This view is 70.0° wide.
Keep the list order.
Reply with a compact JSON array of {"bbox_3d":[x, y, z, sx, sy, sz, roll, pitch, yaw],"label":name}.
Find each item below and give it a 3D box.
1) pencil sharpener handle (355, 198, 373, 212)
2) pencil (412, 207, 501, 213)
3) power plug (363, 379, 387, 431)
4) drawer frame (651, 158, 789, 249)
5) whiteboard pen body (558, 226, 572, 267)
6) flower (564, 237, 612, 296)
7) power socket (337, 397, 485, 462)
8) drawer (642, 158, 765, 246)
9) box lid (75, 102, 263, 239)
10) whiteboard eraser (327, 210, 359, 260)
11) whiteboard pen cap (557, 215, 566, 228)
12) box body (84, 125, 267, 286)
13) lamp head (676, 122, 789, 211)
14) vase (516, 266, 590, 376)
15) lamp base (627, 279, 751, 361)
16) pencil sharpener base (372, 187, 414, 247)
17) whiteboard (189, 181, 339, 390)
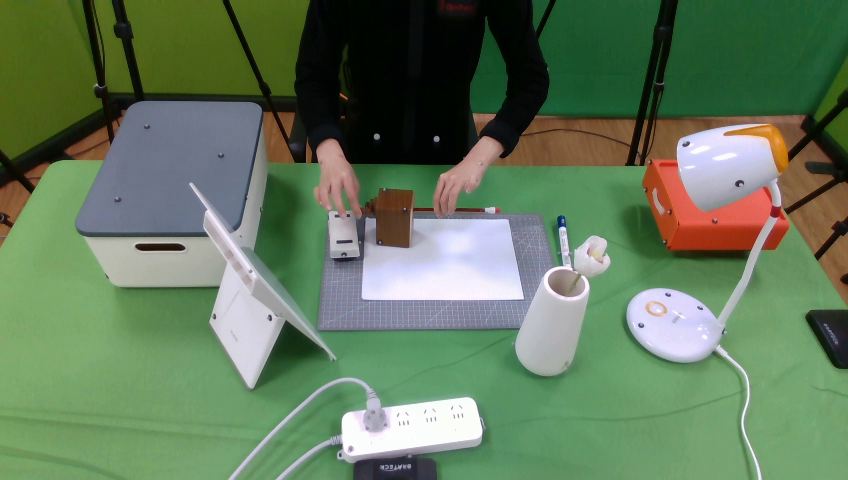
[{"bbox_3d":[-0.111,-0.064,1.136,0.030,0.036,0.067,5,10,1],"label":"pencil sharpener handle"},{"bbox_3d":[0.048,-0.058,1.151,0.194,0.012,0.012,1,46,2],"label":"pencil"},{"bbox_3d":[-0.072,0.252,0.910,0.035,0.053,0.072,3,45,-1],"label":"power plug"},{"bbox_3d":[0.571,-0.075,1.214,0.214,0.083,0.200,0,46,-1],"label":"drawer frame"},{"bbox_3d":[0.280,0.010,1.208,0.017,0.017,0.140,3,50,-1],"label":"whiteboard pen body"},{"bbox_3d":[0.206,0.088,0.893,0.038,0.363,0.044,-16,67,-9],"label":"flower"},{"bbox_3d":[-0.018,0.285,0.915,0.227,0.033,0.071,-5,46,-8],"label":"power socket"},{"bbox_3d":[0.566,-0.076,1.211,0.212,0.073,0.193,2,45,-2],"label":"drawer"},{"bbox_3d":[-0.443,-0.138,1.094,0.263,0.015,0.369,-1,47,-5],"label":"box lid"},{"bbox_3d":[-0.159,-0.009,1.177,0.055,0.042,0.112,-6,47,-7],"label":"whiteboard eraser"},{"bbox_3d":[0.284,-0.034,1.246,0.018,0.018,0.033,4,52,-1],"label":"whiteboard pen cap"},{"bbox_3d":[-0.446,-0.088,1.150,0.254,0.161,0.361,-1,46,-5],"label":"box body"},{"bbox_3d":[0.423,-0.104,0.819,0.122,0.113,0.112,-13,33,40],"label":"lamp head"},{"bbox_3d":[0.208,0.132,0.964,0.098,0.201,0.097,3,46,-3],"label":"vase"},{"bbox_3d":[0.459,0.100,1.027,0.178,0.181,0.160,27,51,17],"label":"lamp base"},{"bbox_3d":[-0.060,-0.043,1.171,0.077,0.107,0.061,5,46,1],"label":"pencil sharpener base"},{"bbox_3d":[-0.292,0.096,0.929,0.144,0.307,0.216,-37,57,-10],"label":"whiteboard"}]
